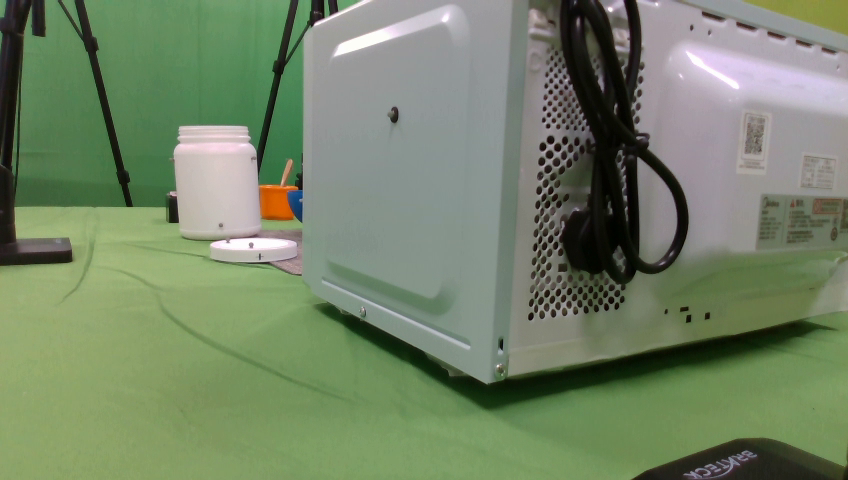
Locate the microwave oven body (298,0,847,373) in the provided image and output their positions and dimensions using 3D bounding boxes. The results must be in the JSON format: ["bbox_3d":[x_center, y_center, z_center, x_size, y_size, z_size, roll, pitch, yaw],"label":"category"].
[{"bbox_3d":[0.151,-0.055,0.543,0.444,0.260,0.324,-1,7,-33],"label":"microwave oven body"}]

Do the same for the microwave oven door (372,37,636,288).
[{"bbox_3d":[0.109,-0.080,0.686,0.358,0.243,0.039,-2,9,-33],"label":"microwave oven door"}]

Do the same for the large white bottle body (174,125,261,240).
[{"bbox_3d":[-0.349,-0.100,1.024,0.131,0.184,0.130,-1,9,0],"label":"large white bottle body"}]

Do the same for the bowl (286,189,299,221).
[{"bbox_3d":[-0.179,-0.051,1.115,0.151,0.077,0.151,3,8,0],"label":"bowl"}]

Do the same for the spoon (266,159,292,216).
[{"bbox_3d":[-0.333,-0.127,1.423,0.041,0.193,0.021,1,-37,6],"label":"spoon"}]

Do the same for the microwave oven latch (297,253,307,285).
[{"bbox_3d":[-0.082,0.027,0.582,0.079,0.029,0.030,-1,7,-33],"label":"microwave oven latch"}]

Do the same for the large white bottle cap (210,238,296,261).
[{"bbox_3d":[-0.236,0.012,0.839,0.115,0.018,0.115,2,7,0],"label":"large white bottle cap"}]

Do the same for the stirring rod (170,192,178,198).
[{"bbox_3d":[-0.465,-0.098,1.283,0.014,0.006,0.177,42,21,17],"label":"stirring rod"}]

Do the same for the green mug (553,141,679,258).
[{"bbox_3d":[0.180,-0.037,0.583,0.124,0.105,0.093,3,4,44],"label":"green mug"}]
